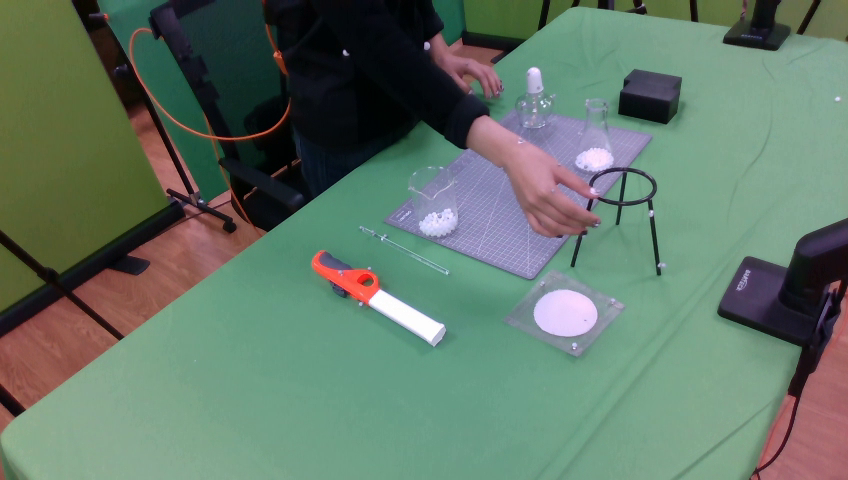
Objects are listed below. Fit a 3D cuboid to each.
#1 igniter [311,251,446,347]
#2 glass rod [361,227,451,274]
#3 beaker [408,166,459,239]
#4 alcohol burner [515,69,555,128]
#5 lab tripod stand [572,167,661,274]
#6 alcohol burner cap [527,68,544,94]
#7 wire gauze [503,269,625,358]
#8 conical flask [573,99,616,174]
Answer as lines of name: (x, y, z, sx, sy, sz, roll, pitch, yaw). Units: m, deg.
igniter: (-0.078, 0.081, 0.899, 0.274, 0.025, 0.057, 27, 62, 35)
glass rod: (-0.033, 0.015, 0.985, 0.198, 0.008, 0.008, 25, 52, 34)
beaker: (0.018, -0.057, 0.984, 0.074, 0.101, 0.083, -6, 41, 5)
alcohol burner: (0.221, -0.285, 1.203, 0.078, 0.119, 0.077, -4, 39, 4)
lab tripod stand: (0.284, -0.030, 0.879, 0.148, 0.132, 0.147, -7, 38, 6)
alcohol burner cap: (0.216, -0.312, 1.179, 0.034, 0.048, 0.033, -10, 40, 9)
wire gauze: (0.194, 0.100, 0.840, 0.120, 0.011, 0.125, 27, 53, 36)
conical flask: (0.302, -0.184, 1.061, 0.075, 0.122, 0.075, -5, 40, 5)
